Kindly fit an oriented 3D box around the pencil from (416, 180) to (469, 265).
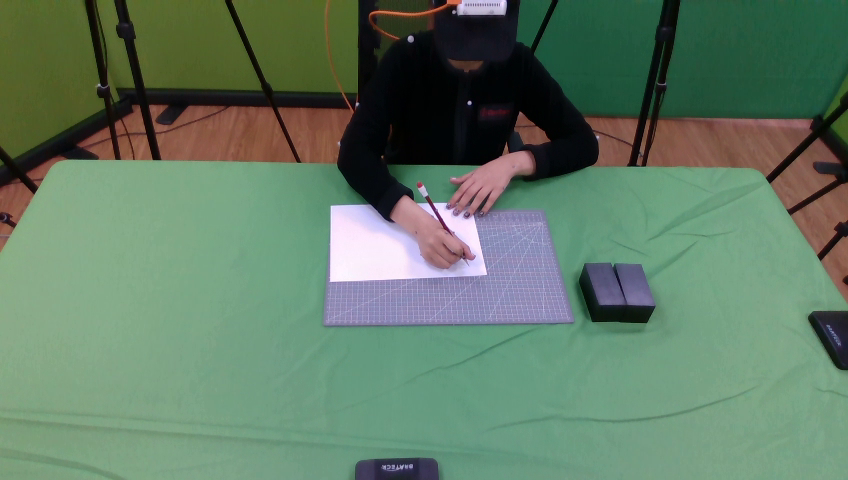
[{"bbox_3d":[0.037,-0.029,1.130,0.012,0.195,0.012,-28,21,12],"label":"pencil"}]
